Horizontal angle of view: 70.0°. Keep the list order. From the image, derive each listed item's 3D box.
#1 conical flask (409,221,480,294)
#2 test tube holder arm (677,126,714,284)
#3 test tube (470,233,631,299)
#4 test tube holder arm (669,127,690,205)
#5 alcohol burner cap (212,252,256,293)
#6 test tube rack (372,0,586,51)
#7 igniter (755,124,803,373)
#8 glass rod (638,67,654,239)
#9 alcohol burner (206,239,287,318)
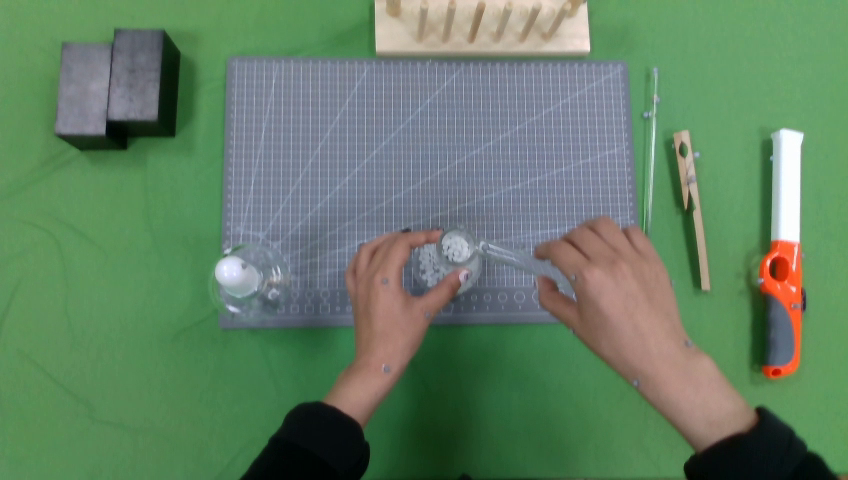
[{"bbox_3d":[0.025,0.011,0.590,0.075,0.122,0.075,1,81,-3],"label":"conical flask"},{"bbox_3d":[0.298,-0.039,0.668,0.013,0.015,0.178,-14,80,32],"label":"test tube holder arm"},{"bbox_3d":[0.110,0.023,0.518,0.151,0.017,0.017,18,80,-11],"label":"test tube"},{"bbox_3d":[0.287,-0.082,0.677,0.010,0.015,0.087,-12,81,32],"label":"test tube holder arm"},{"bbox_3d":[-0.172,0.027,0.543,0.034,0.048,0.033,1,72,-3],"label":"alcohol burner cap"},{"bbox_3d":[0.064,-0.254,0.654,0.242,0.085,0.066,-1,81,-4],"label":"test tube rack"},{"bbox_3d":[0.391,0.007,0.665,0.057,0.025,0.275,9,81,-12],"label":"igniter"},{"bbox_3d":[0.250,-0.099,0.681,0.008,0.008,0.199,6,84,-3],"label":"glass rod"},{"bbox_3d":[-0.174,0.035,0.578,0.078,0.119,0.077,0,80,-1],"label":"alcohol burner"}]
